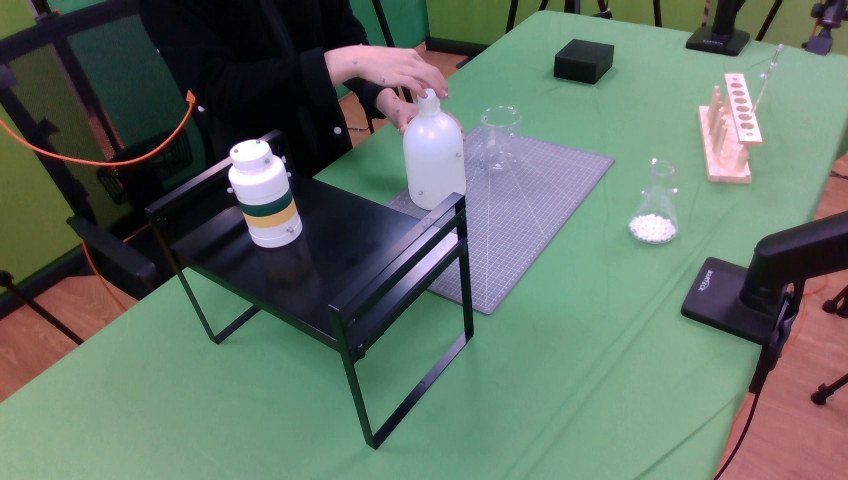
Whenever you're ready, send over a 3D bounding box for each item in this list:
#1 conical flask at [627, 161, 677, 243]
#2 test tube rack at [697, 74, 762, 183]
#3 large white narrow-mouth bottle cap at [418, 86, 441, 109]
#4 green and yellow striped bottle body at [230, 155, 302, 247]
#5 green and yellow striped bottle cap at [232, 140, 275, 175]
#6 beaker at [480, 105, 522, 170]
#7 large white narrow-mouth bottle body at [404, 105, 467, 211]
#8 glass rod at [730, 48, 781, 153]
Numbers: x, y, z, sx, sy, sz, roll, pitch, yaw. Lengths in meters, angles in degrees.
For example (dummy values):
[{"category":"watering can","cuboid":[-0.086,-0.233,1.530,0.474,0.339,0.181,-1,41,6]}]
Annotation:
[{"category":"conical flask","cuboid":[0.355,-0.061,0.921,0.075,0.122,0.075,-4,41,4]},{"category":"test tube rack","cuboid":[0.547,-0.208,1.095,0.066,0.085,0.242,5,42,15]},{"category":"large white narrow-mouth bottle cap","cuboid":[0.008,-0.226,0.958,0.038,0.024,0.037,-4,39,4]},{"category":"green and yellow striped bottle body","cuboid":[-0.188,-0.055,0.714,0.063,0.120,0.063,-4,41,4]},{"category":"green and yellow striped bottle cap","cuboid":[-0.192,-0.093,0.680,0.045,0.020,0.045,-5,39,5]},{"category":"beaker","cuboid":[0.145,-0.187,1.111,0.084,0.101,0.073,-35,48,-29]},{"category":"large white narrow-mouth bottle body","cuboid":[0.017,-0.152,1.016,0.102,0.195,0.101,-4,39,4]},{"category":"glass rod","cuboid":[0.554,-0.228,1.015,0.008,0.200,0.008,1,44,-1]}]
